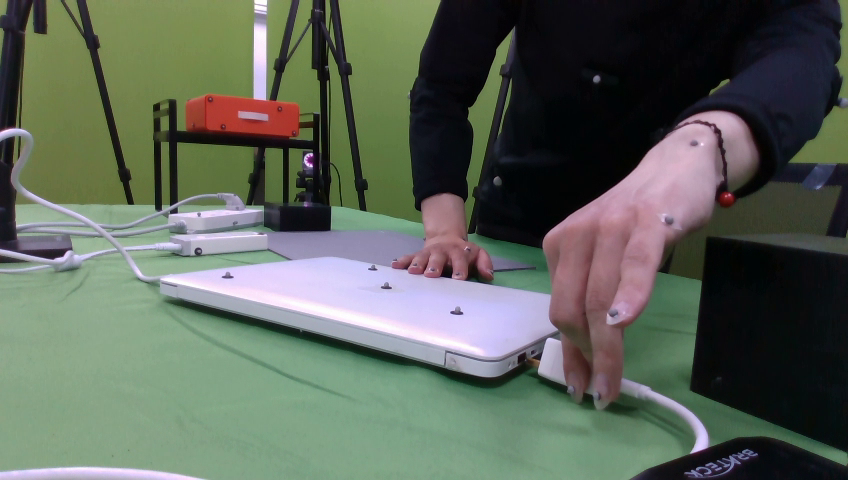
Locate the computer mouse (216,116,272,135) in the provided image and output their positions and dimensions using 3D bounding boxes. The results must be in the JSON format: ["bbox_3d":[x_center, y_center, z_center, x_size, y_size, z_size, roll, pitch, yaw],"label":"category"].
[{"bbox_3d":[-0.402,-0.257,1.353,0.118,0.041,0.062,-6,15,-35],"label":"computer mouse"}]

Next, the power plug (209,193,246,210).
[{"bbox_3d":[-0.388,-0.067,1.205,0.072,0.052,0.035,3,8,26],"label":"power plug"}]

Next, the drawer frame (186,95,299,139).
[{"bbox_3d":[-0.417,-0.277,1.378,0.203,0.082,0.212,-3,8,-32],"label":"drawer frame"}]

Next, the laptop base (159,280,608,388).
[{"bbox_3d":[-0.038,0.061,0.555,0.352,0.023,0.237,8,7,33],"label":"laptop base"}]

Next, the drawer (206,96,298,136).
[{"bbox_3d":[-0.414,-0.276,1.376,0.195,0.073,0.210,-3,9,-31],"label":"drawer"}]

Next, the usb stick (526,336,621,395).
[{"bbox_3d":[0.091,0.077,0.382,0.021,0.027,0.059,15,-5,-43],"label":"usb stick"}]

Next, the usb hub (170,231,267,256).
[{"bbox_3d":[-0.290,0.005,0.862,0.049,0.025,0.126,10,11,42],"label":"usb hub"}]

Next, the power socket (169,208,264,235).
[{"bbox_3d":[-0.381,-0.038,1.128,0.072,0.032,0.227,4,8,16],"label":"power socket"}]

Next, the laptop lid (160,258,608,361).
[{"bbox_3d":[-0.037,0.047,0.555,0.355,0.013,0.243,8,7,35],"label":"laptop lid"}]
